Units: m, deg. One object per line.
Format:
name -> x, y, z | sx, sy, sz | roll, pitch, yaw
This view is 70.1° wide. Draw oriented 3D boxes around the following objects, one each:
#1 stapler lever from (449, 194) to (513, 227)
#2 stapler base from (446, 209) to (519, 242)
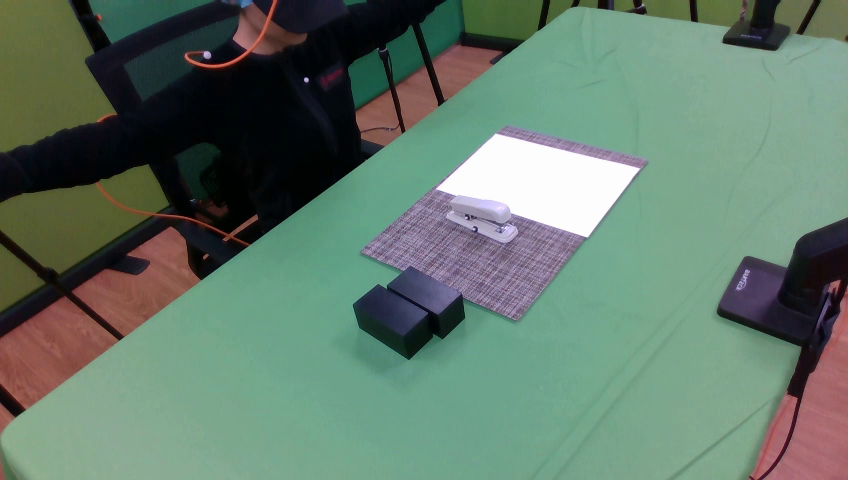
stapler lever -> 0.092, -0.054, 0.985 | 0.117, 0.040, 0.027 | 25, 48, 35
stapler base -> 0.096, -0.035, 1.000 | 0.129, 0.024, 0.041 | 24, 48, 35
